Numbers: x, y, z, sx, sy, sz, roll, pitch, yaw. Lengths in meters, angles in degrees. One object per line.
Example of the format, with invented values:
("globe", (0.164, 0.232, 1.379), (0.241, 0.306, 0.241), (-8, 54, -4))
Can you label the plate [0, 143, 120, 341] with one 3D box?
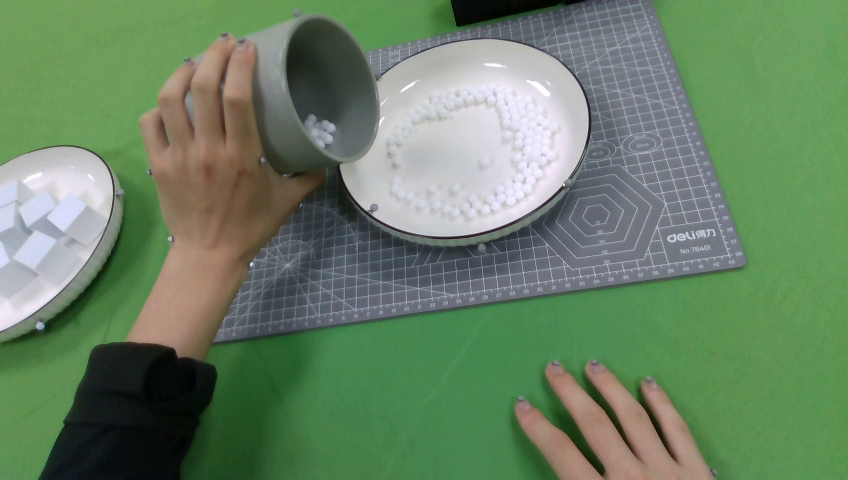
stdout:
("plate", (-0.371, 0.003, 0.559), (0.207, 0.039, 0.205), (-7, 59, 11))

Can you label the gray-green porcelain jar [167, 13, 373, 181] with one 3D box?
("gray-green porcelain jar", (-0.120, -0.102, 0.461), (0.126, 0.107, 0.105), (-6, 57, 32))

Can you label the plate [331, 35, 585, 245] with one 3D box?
("plate", (0.026, -0.083, 0.500), (0.209, 0.038, 0.207), (-7, 58, 11))
